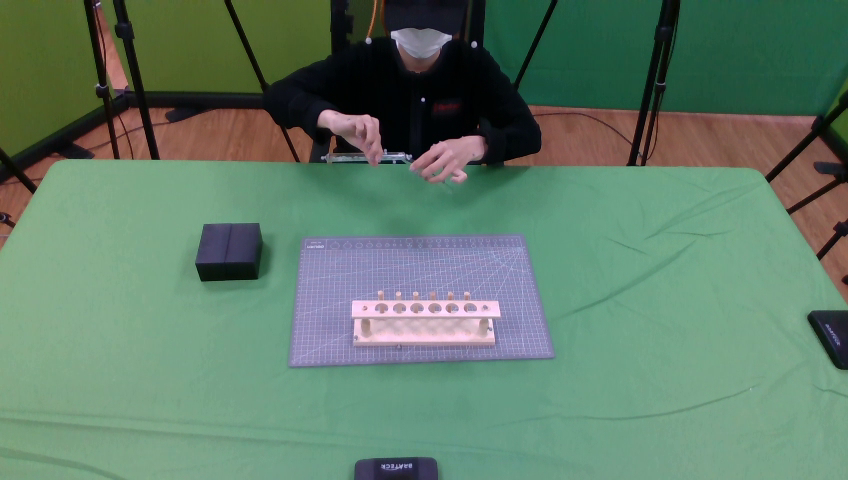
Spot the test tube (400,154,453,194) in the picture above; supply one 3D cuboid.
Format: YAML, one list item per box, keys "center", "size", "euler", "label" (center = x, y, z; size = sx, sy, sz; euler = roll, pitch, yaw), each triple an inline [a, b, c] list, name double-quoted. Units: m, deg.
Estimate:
- center: [0.008, -0.127, 1.188]
  size: [0.017, 0.151, 0.017]
  euler: [-24, 52, 34]
  label: "test tube"

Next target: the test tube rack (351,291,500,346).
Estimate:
- center: [0.000, 0.129, 1.026]
  size: [0.242, 0.085, 0.066]
  euler: [1, 46, -4]
  label: "test tube rack"

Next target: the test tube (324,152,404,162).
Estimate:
- center: [-0.109, -0.154, 1.115]
  size: [0.150, 0.017, 0.017]
  euler: [-4, 46, -19]
  label: "test tube"
